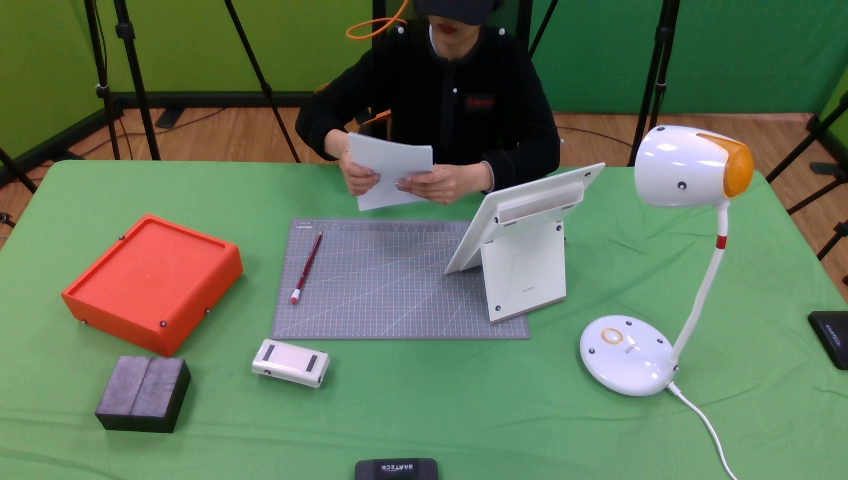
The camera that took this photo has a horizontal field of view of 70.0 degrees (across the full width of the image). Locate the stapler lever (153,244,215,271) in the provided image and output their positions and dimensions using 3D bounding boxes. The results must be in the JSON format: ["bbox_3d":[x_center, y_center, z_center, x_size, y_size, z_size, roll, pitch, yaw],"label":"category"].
[{"bbox_3d":[-0.431,0.026,1.088,0.118,0.040,0.027,15,33,12],"label":"stapler lever"}]

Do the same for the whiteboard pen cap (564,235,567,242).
[{"bbox_3d":[0.271,-0.008,1.225,0.033,0.018,0.018,33,53,22],"label":"whiteboard pen cap"}]

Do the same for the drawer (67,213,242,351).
[{"bbox_3d":[-0.461,0.068,1.056,0.194,0.073,0.211,19,48,13],"label":"drawer"}]

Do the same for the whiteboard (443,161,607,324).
[{"bbox_3d":[0.185,0.026,1.028,0.217,0.306,0.143,-15,68,-18],"label":"whiteboard"}]

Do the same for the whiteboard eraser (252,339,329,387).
[{"bbox_3d":[-0.215,0.199,0.976,0.112,0.042,0.055,12,45,7],"label":"whiteboard eraser"}]

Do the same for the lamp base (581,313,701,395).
[{"bbox_3d":[0.361,0.144,0.973,0.178,0.181,0.160,34,53,23],"label":"lamp base"}]

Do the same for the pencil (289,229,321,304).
[{"bbox_3d":[-0.221,0.045,1.141,0.012,0.012,0.193,8,45,4],"label":"pencil"}]

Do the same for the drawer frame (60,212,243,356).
[{"bbox_3d":[-0.462,0.070,1.053,0.201,0.083,0.213,18,48,12],"label":"drawer frame"}]

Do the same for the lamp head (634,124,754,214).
[{"bbox_3d":[0.351,-0.089,0.775,0.112,0.113,0.122,-30,30,-28],"label":"lamp head"}]

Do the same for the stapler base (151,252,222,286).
[{"bbox_3d":[-0.432,0.047,1.102,0.130,0.024,0.041,16,33,12],"label":"stapler base"}]

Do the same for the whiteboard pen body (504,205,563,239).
[{"bbox_3d":[0.225,-0.036,1.249,0.140,0.017,0.017,31,52,23],"label":"whiteboard pen body"}]
